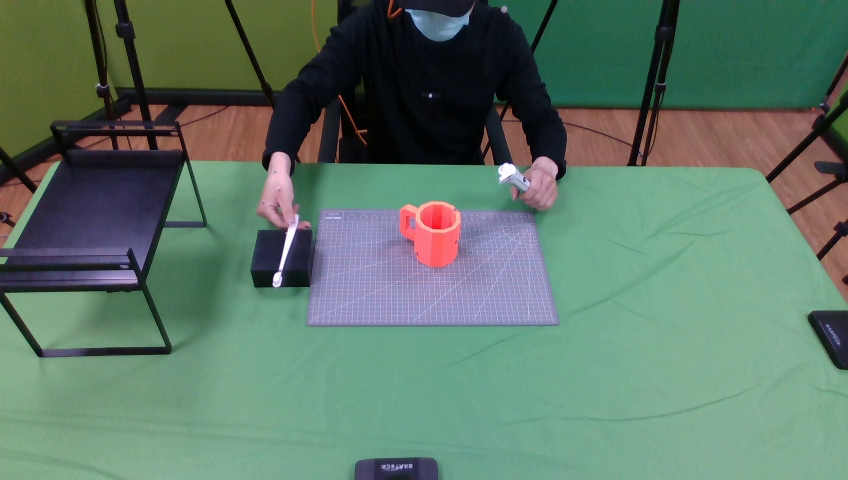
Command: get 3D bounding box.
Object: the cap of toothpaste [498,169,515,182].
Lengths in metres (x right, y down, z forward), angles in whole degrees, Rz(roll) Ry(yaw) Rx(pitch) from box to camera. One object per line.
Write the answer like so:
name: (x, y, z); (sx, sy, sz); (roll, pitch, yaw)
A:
cap of toothpaste: (0.155, -0.123, 1.150); (0.037, 0.037, 0.011); (-26, 85, -26)

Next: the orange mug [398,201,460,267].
orange mug: (0.007, -0.020, 1.161); (0.126, 0.101, 0.083); (27, 50, 15)

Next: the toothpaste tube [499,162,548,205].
toothpaste tube: (0.200, -0.114, 1.227); (0.034, 0.166, 0.054); (-50, 49, 10)

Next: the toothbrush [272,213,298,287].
toothbrush: (-0.252, 0.013, 1.103); (0.014, 0.017, 0.181); (1, 46, 3)
